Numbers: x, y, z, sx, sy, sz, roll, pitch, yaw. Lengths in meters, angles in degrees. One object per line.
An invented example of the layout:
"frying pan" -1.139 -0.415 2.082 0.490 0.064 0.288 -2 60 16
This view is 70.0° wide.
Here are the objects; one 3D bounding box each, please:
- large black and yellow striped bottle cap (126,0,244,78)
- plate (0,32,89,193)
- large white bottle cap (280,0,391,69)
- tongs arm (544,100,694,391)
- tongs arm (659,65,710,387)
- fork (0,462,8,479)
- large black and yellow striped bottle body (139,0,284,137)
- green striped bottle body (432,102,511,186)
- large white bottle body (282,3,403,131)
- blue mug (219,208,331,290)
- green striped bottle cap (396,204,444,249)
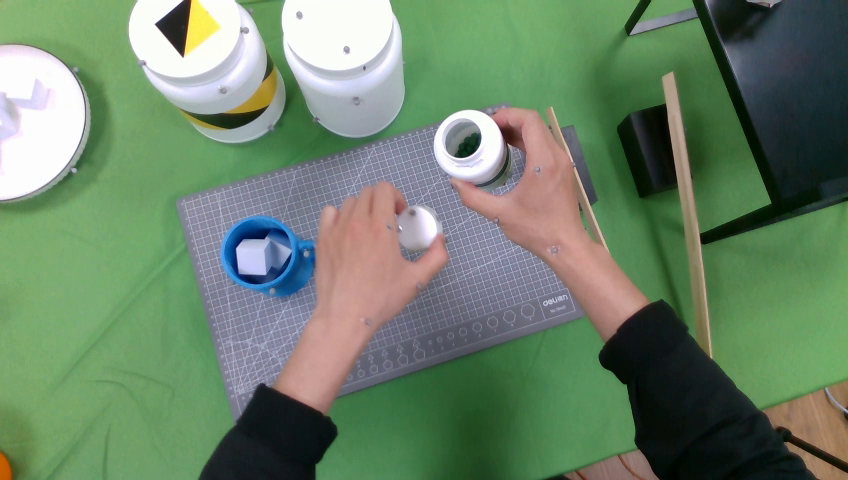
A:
"large black and yellow striped bottle cap" -0.246 -0.225 0.625 0.115 0.019 0.114 0 82 -3
"plate" -0.526 -0.158 0.767 0.208 0.039 0.207 0 82 -1
"large white bottle cap" -0.091 -0.234 0.629 0.115 0.018 0.114 0 81 -2
"tongs arm" 0.234 0.008 0.726 0.051 0.026 0.385 -22 94 -7
"tongs arm" 0.312 -0.015 0.734 0.028 0.027 0.387 -8 93 -11
"fork" -0.571 0.261 0.647 0.209 0.018 0.028 10 75 -44
"large black and yellow striped bottle body" -0.247 -0.210 0.707 0.131 0.184 0.130 0 81 -1
"green striped bottle body" 0.046 -0.090 0.571 0.063 0.119 0.063 -1 87 13
"large white bottle body" -0.092 -0.219 0.712 0.131 0.185 0.130 0 80 -1
"blue mug" -0.168 0.011 0.714 0.116 0.106 0.082 -10 81 -3
"green striped bottle cap" -0.004 -0.013 0.583 0.044 0.020 0.044 0 90 22
